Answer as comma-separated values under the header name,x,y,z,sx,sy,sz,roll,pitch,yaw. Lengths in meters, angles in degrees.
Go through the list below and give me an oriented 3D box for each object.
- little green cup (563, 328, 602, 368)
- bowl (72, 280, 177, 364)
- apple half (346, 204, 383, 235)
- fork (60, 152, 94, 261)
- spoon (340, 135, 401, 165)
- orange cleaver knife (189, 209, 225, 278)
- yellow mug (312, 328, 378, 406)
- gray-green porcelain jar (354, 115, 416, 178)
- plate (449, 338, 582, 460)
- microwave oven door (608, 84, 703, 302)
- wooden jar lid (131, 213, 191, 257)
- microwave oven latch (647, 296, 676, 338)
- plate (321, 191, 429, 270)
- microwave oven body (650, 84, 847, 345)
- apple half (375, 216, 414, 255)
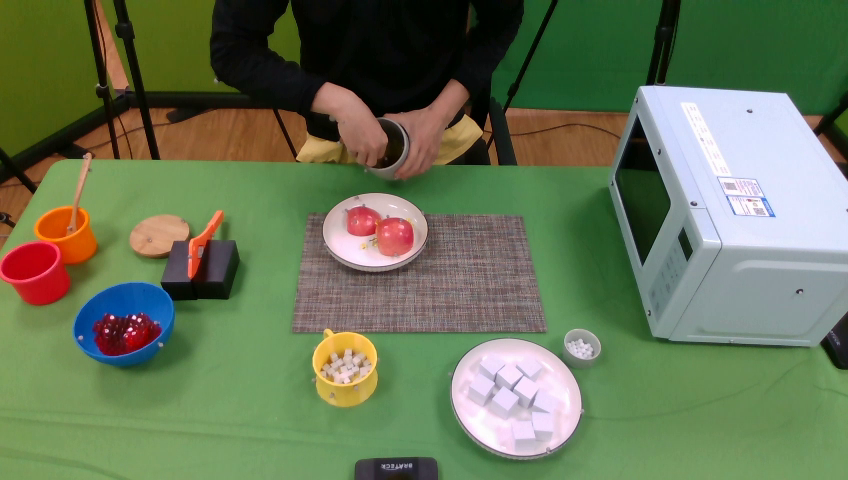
name,x,y,z,sx,sy,sz,roll,pitch,yaw
little green cup,0.265,0.184,1.025,0.061,0.039,0.061,2,45,-1
bowl,-0.473,0.147,0.982,0.151,0.077,0.150,2,46,-2
apple half,-0.119,-0.049,1.207,0.081,0.033,0.081,2,50,-2
fork,-0.638,-0.063,1.119,0.028,0.018,0.207,12,90,8
spoon,-0.099,-0.173,1.175,0.041,0.194,0.021,-30,72,23
orange cleaver knife,-0.401,0.002,1.122,0.012,0.077,0.210,3,22,-4
yellow mug,-0.132,0.193,0.971,0.100,0.064,0.130,-22,51,-22
gray-green porcelain jar,-0.074,-0.182,1.218,0.106,0.127,0.105,-1,85,9
plate,0.141,0.251,0.956,0.208,0.039,0.206,2,46,-2
microwave oven door,0.424,-0.096,1.138,0.039,0.245,0.353,3,46,-1
wooden jar lid,-0.504,-0.008,1.167,0.108,0.021,0.107,3,46,-3
microwave oven latch,0.413,0.133,1.060,0.030,0.029,0.078,4,46,2
plate,-0.094,-0.015,1.185,0.209,0.038,0.208,2,46,-2
microwave oven body,0.569,-0.054,1.116,0.326,0.261,0.439,2,46,-1
apple half,-0.056,-0.017,1.169,0.075,0.053,0.080,0,46,-7
